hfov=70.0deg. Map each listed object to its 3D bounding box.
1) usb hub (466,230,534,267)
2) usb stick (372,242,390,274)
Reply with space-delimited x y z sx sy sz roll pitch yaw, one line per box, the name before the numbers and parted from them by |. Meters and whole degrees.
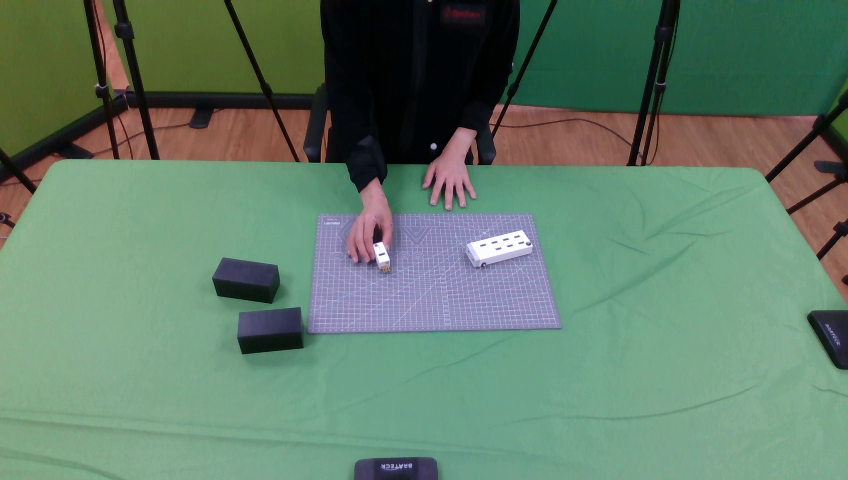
usb hub | 0.148 0.017 1.185 0.125 0.025 0.049 -14 49 -16
usb stick | -0.079 0.035 1.142 0.021 0.027 0.059 -16 63 -13
